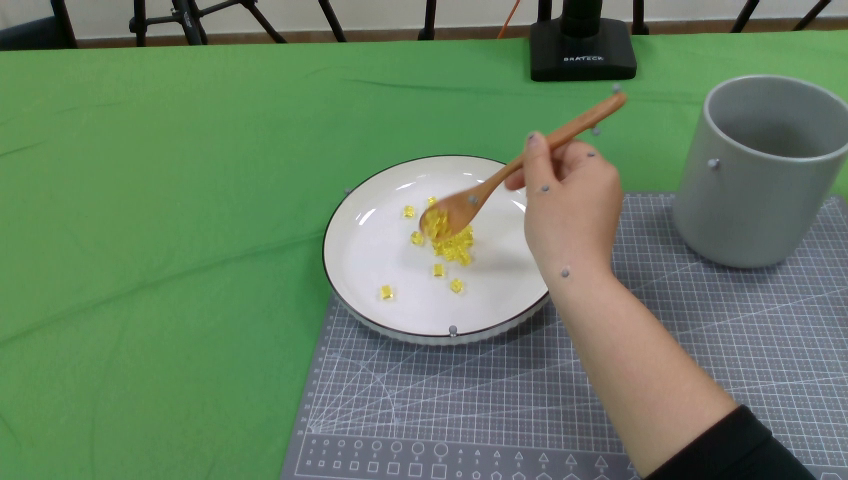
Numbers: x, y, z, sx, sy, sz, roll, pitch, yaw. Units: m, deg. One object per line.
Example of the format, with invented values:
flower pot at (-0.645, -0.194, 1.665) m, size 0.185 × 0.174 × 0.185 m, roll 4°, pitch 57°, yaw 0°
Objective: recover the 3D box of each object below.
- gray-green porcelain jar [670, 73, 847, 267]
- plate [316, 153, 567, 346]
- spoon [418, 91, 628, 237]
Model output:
gray-green porcelain jar at (0.259, -0.049, 0.483) m, size 0.106 × 0.128 × 0.105 m, roll -3°, pitch 48°, yaw 4°
plate at (0.014, 0.007, 0.518) m, size 0.207 × 0.039 × 0.205 m, roll -2°, pitch 48°, yaw 3°
spoon at (0.070, -0.056, 0.468) m, size 0.194 × 0.022 × 0.041 m, roll -34°, pitch 49°, yaw 33°
